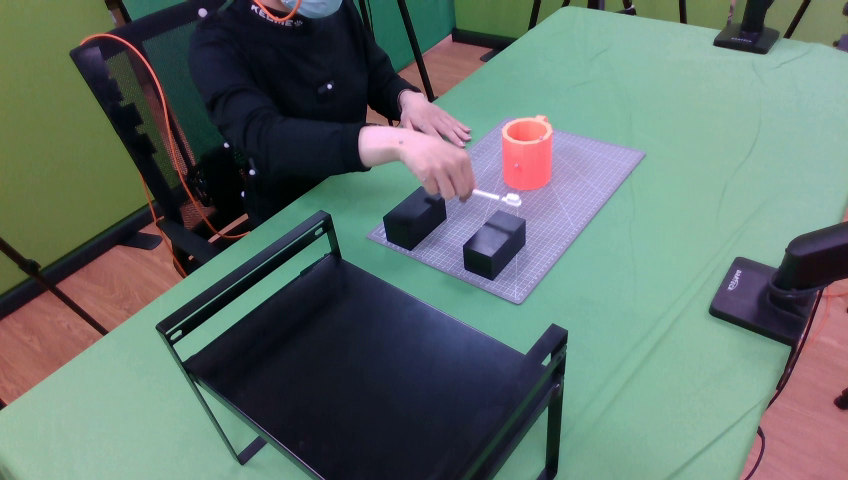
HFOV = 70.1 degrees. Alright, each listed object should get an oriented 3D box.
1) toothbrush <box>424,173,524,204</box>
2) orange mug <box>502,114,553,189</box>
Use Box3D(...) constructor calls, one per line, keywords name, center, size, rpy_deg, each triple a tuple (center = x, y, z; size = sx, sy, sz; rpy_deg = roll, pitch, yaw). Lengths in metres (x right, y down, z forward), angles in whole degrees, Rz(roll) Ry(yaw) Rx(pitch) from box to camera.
Box3D(name="toothbrush", center=(0.073, -0.083, 0.937), size=(0.180, 0.017, 0.014), rpy_deg=(17, 62, 33))
Box3D(name="orange mug", center=(0.190, -0.164, 1.071), size=(0.083, 0.101, 0.126), rpy_deg=(16, 50, 25))
